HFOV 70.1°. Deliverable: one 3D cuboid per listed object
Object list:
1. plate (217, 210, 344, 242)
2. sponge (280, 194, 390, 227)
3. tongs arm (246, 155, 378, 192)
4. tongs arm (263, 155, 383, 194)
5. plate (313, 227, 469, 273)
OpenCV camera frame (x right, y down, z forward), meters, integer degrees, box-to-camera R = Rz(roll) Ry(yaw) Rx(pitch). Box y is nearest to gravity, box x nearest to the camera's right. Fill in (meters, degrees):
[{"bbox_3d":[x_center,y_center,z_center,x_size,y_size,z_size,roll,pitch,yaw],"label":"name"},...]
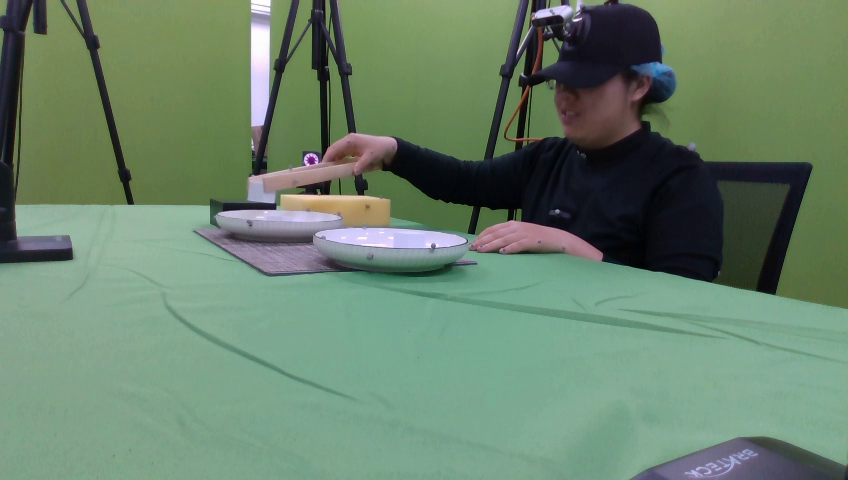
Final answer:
[{"bbox_3d":[-0.241,-0.024,1.026,0.208,0.039,0.207,3,7,0],"label":"plate"},{"bbox_3d":[-0.188,-0.063,1.291,0.208,0.061,0.117,-2,9,-35],"label":"sponge"},{"bbox_3d":[-0.192,-0.130,1.137,0.050,0.026,0.386,5,15,21],"label":"tongs arm"},{"bbox_3d":[-0.171,-0.127,1.128,0.028,0.028,0.389,3,14,26],"label":"tongs arm"},{"bbox_3d":[-0.044,0.012,0.807,0.209,0.038,0.209,2,7,0],"label":"plate"}]
